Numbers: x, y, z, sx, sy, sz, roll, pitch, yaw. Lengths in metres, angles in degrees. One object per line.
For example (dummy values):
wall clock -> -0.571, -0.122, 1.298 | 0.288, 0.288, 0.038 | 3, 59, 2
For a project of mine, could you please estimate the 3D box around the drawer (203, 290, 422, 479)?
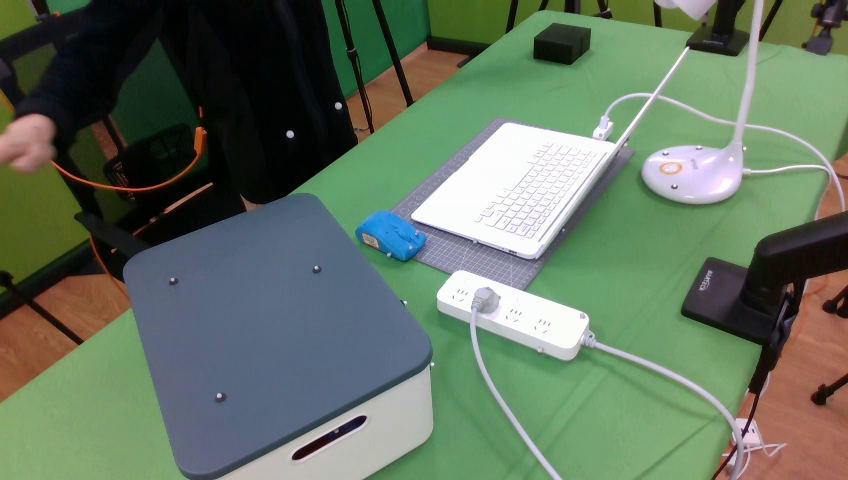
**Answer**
drawer -> -0.136, 0.188, 0.740 | 0.195, 0.073, 0.210 | -24, 52, -22

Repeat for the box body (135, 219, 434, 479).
box body -> -0.175, 0.130, 0.738 | 0.255, 0.161, 0.360 | -25, 43, -19

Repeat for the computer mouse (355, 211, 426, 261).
computer mouse -> -0.055, -0.010, 0.979 | 0.116, 0.041, 0.063 | 27, 49, 29

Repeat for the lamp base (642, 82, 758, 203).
lamp base -> 0.464, -0.174, 0.992 | 0.179, 0.181, 0.159 | -5, 41, -1

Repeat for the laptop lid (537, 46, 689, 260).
laptop lid -> 0.293, -0.136, 0.927 | 0.013, 0.241, 0.357 | 35, 51, 10

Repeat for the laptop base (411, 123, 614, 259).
laptop base -> 0.168, -0.101, 1.073 | 0.234, 0.023, 0.355 | 17, 46, 30

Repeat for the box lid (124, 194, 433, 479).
box lid -> -0.182, 0.076, 0.689 | 0.264, 0.015, 0.368 | -24, 42, -20

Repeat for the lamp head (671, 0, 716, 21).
lamp head -> 0.375, -0.373, 0.807 | 0.122, 0.113, 0.112 | -40, 27, 32

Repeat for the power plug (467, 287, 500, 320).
power plug -> 0.073, 0.092, 0.814 | 0.035, 0.053, 0.073 | 29, 54, 34

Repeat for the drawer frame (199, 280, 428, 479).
drawer frame -> -0.134, 0.176, 0.729 | 0.202, 0.083, 0.211 | -26, 50, -19

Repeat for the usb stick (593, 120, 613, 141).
usb stick -> 0.336, -0.201, 1.146 | 0.021, 0.027, 0.059 | 26, 53, 27

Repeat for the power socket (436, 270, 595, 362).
power socket -> 0.119, 0.101, 0.832 | 0.225, 0.033, 0.072 | 19, 48, 27
